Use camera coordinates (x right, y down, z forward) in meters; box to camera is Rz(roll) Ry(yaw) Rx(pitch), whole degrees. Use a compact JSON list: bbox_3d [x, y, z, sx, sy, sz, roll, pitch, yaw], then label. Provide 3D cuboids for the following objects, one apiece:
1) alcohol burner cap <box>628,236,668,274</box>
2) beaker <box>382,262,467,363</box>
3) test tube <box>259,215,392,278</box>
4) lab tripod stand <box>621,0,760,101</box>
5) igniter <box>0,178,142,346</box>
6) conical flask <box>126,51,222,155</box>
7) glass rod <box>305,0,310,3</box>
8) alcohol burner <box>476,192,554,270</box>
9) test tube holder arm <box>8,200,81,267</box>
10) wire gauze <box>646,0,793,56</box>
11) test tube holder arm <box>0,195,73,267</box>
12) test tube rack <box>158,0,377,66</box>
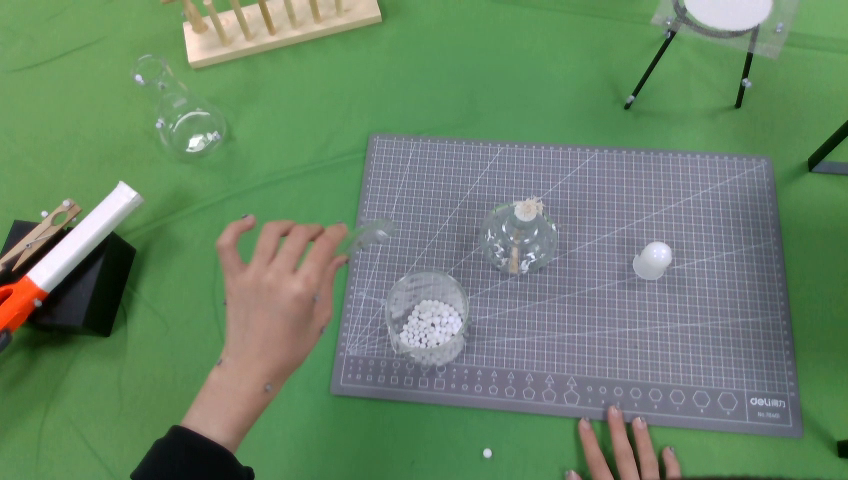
[{"bbox_3d":[0.229,0.013,0.614,0.034,0.048,0.033,-1,68,2],"label":"alcohol burner cap"},{"bbox_3d":[0.001,0.076,0.569,0.073,0.101,0.084,33,74,15],"label":"beaker"},{"bbox_3d":[-0.085,0.008,0.498,0.150,0.017,0.017,-19,63,34],"label":"test tube"},{"bbox_3d":[0.292,-0.217,0.653,0.148,0.132,0.147,0,68,1],"label":"lab tripod stand"},{"bbox_3d":[-0.389,0.046,0.590,0.057,0.025,0.276,32,73,24],"label":"igniter"},{"bbox_3d":[-0.277,-0.153,0.661,0.075,0.123,0.075,-1,68,3],"label":"conical flask"},{"bbox_3d":[-0.162,-0.348,0.679,0.008,0.201,0.008,-4,62,7],"label":"glass rod"},{"bbox_3d":[0.091,-0.015,0.592,0.078,0.120,0.077,0,68,1],"label":"alcohol burner"},{"bbox_3d":[-0.386,-0.006,0.612,0.010,0.015,0.087,47,76,-13],"label":"test tube holder arm"},{"bbox_3d":[0.296,-0.243,0.590,0.121,0.011,0.124,25,73,10],"label":"wire gauze"},{"bbox_3d":[-0.419,0.022,0.600,0.013,0.015,0.178,46,76,-14],"label":"test tube holder arm"},{"bbox_3d":[-0.185,-0.292,0.730,0.242,0.086,0.066,-16,69,-3],"label":"test tube rack"}]
